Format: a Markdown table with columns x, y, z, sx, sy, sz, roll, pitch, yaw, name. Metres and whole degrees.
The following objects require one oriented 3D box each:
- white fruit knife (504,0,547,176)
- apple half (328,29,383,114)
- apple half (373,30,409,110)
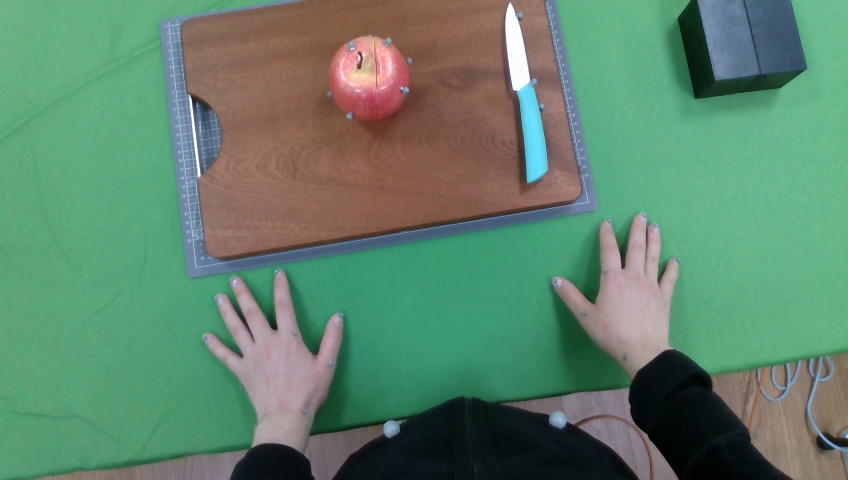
| x | y | z | sx | sy | sz | roll | pitch | yaw | name |
| --- | --- | --- | --- | --- | --- | --- | --- | --- | --- |
| 0.106 | -0.169 | 0.646 | 0.027 | 0.016 | 0.206 | -5 | 81 | -14 | white fruit knife |
| -0.069 | -0.168 | 0.617 | 0.053 | 0.075 | 0.080 | -5 | 85 | 4 | apple half |
| -0.031 | -0.171 | 0.616 | 0.033 | 0.081 | 0.081 | -4 | 82 | 2 | apple half |
